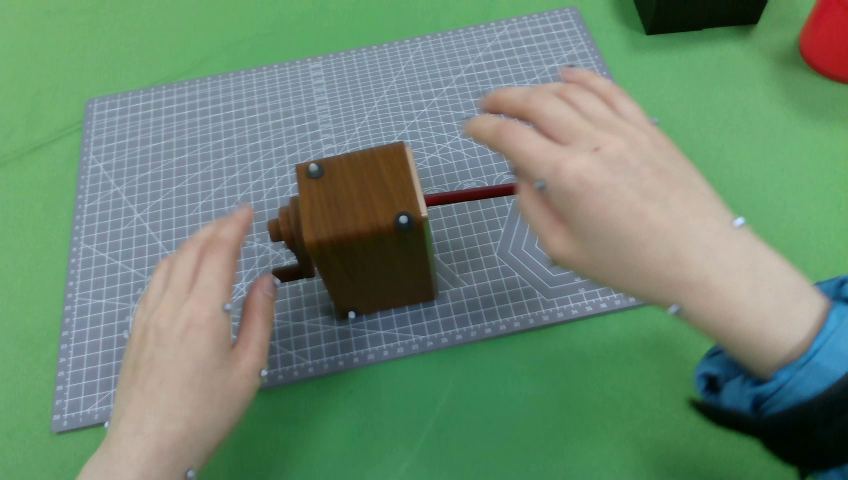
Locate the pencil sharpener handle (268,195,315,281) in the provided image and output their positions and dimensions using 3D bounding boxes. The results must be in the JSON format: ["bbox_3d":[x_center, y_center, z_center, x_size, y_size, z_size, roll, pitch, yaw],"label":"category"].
[{"bbox_3d":[-0.086,0.003,0.371,0.030,0.068,0.035,-12,54,-2],"label":"pencil sharpener handle"}]

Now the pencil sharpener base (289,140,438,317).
[{"bbox_3d":[-0.036,-0.002,0.385,0.077,0.108,0.061,-12,59,-2],"label":"pencil sharpener base"}]

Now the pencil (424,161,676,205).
[{"bbox_3d":[0.059,-0.032,0.369,0.194,0.012,0.012,-7,59,-5],"label":"pencil"}]
